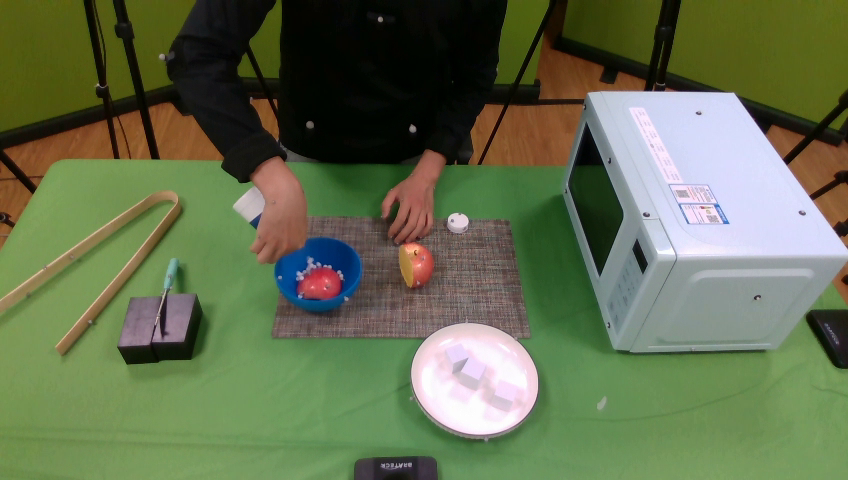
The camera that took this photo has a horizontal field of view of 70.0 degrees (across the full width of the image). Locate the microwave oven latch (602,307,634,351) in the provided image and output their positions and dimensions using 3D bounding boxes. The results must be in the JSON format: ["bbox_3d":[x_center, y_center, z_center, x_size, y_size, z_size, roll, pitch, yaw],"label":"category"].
[{"bbox_3d":[0.332,0.153,1.044,0.030,0.029,0.078,-1,45,-4],"label":"microwave oven latch"}]

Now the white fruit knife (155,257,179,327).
[{"bbox_3d":[-0.440,0.085,1.037,0.016,0.027,0.206,10,26,-19],"label":"white fruit knife"}]

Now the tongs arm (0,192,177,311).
[{"bbox_3d":[-0.618,0.020,1.124,0.050,0.026,0.384,24,47,16],"label":"tongs arm"}]

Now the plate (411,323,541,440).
[{"bbox_3d":[0.082,0.228,0.976,0.208,0.039,0.206,2,45,-2],"label":"plate"}]

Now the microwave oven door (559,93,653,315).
[{"bbox_3d":[0.327,-0.074,1.123,0.039,0.245,0.353,-1,46,-5],"label":"microwave oven door"}]

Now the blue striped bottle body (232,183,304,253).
[{"bbox_3d":[-0.258,-0.033,1.023,0.121,0.063,0.063,46,49,-11],"label":"blue striped bottle body"}]

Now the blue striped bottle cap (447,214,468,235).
[{"bbox_3d":[0.069,-0.033,1.239,0.044,0.021,0.044,1,46,-1],"label":"blue striped bottle cap"}]

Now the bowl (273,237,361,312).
[{"bbox_3d":[-0.186,0.075,1.069,0.151,0.077,0.150,3,45,-3],"label":"bowl"}]

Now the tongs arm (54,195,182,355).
[{"bbox_3d":[-0.543,0.049,1.108,0.028,0.028,0.385,12,46,9],"label":"tongs arm"}]

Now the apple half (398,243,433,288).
[{"bbox_3d":[-0.011,0.046,1.115,0.053,0.075,0.080,-11,44,-19],"label":"apple half"}]

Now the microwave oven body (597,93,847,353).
[{"bbox_3d":[0.475,-0.041,1.109,0.326,0.261,0.438,-1,45,-4],"label":"microwave oven body"}]

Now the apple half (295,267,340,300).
[{"bbox_3d":[-0.187,0.070,1.067,0.081,0.033,0.081,3,47,-3],"label":"apple half"}]
